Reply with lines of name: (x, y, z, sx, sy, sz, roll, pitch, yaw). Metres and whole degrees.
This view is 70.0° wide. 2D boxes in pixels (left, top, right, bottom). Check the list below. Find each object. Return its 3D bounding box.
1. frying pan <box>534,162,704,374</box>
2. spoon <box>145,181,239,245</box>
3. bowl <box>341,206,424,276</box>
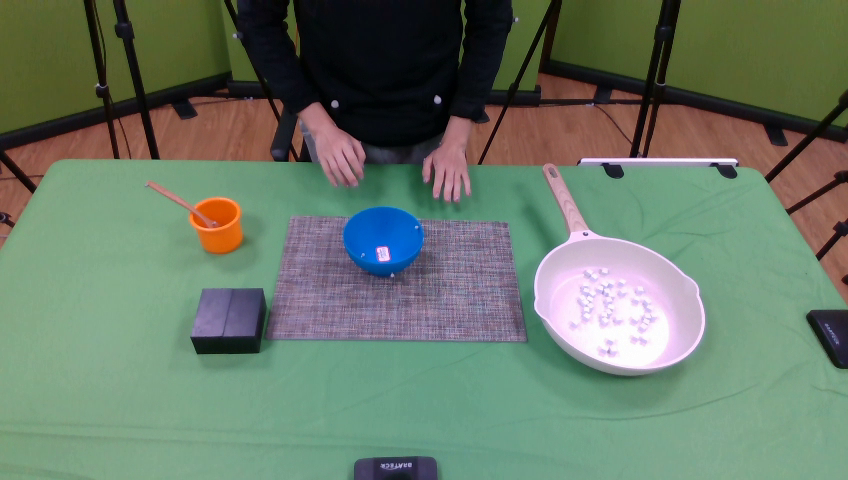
frying pan: (0.314, 0.034, 1.133, 0.307, 0.103, 0.484, -7, 56, -12)
spoon: (-0.429, -0.052, 1.126, 0.021, 0.195, 0.041, -27, 34, 33)
bowl: (-0.079, 0.014, 1.133, 0.151, 0.077, 0.150, 2, 46, -2)
